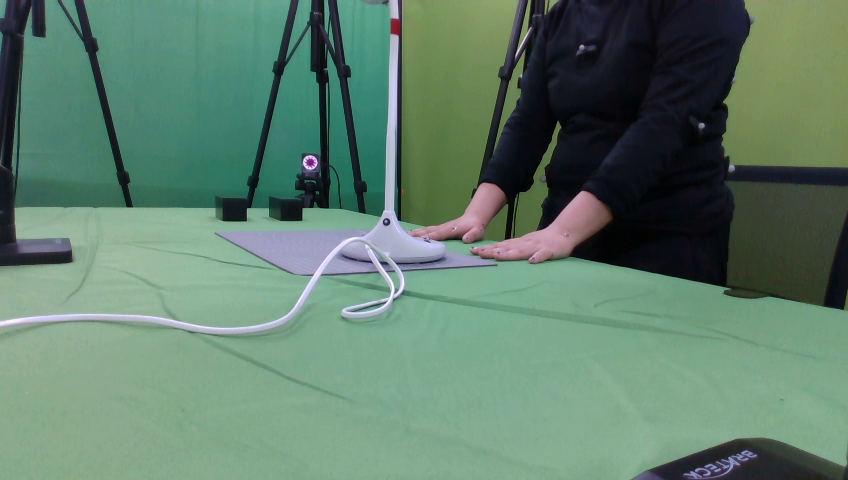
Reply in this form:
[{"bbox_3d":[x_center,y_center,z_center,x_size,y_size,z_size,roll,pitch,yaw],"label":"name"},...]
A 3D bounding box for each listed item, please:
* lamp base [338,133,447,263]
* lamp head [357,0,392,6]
[{"bbox_3d":[-0.043,-0.062,0.868,0.161,0.180,0.179,2,10,-3],"label":"lamp base"},{"bbox_3d":[-0.056,-0.383,0.819,0.113,0.112,0.122,0,13,-22],"label":"lamp head"}]
